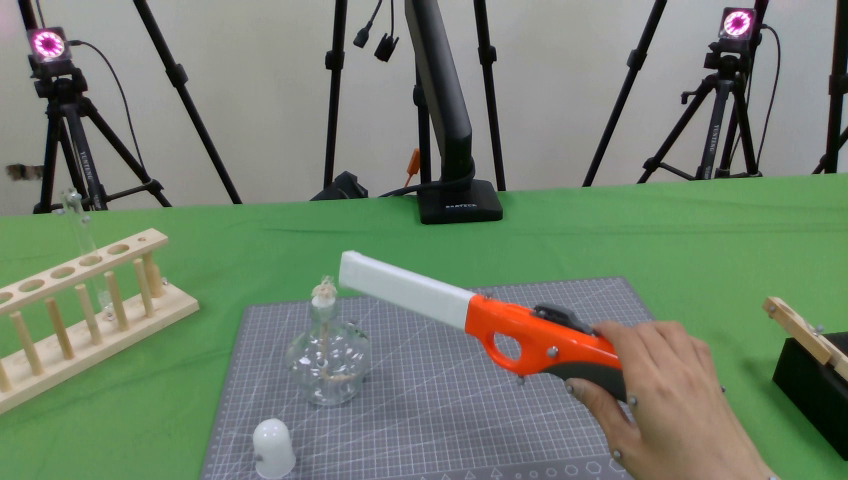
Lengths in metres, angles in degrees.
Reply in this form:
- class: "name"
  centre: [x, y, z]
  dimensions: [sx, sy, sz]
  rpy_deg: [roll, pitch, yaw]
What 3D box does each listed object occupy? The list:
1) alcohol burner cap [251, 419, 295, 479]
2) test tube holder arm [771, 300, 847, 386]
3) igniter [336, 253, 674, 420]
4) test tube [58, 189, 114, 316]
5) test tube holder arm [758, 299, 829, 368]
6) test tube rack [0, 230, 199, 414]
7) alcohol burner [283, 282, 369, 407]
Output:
- class: "alcohol burner cap"
  centre: [-0.124, 0.166, 0.488]
  dimensions: [0.034, 0.048, 0.033]
  rpy_deg: [0, 29, 1]
- class: "test tube holder arm"
  centre: [0.351, 0.107, 0.516]
  dimensions: [0.013, 0.015, 0.176]
  rpy_deg: [3, 29, -13]
- class: "igniter"
  centre: [0.043, 0.060, 0.440]
  dimensions: [0.274, 0.057, 0.025]
  rpy_deg: [17, 17, 32]
- class: "test tube"
  centre: [-0.342, 0.017, 0.618]
  dimensions: [0.017, 0.151, 0.017]
  rpy_deg: [0, 32, 0]
- class: "test tube holder arm"
  centre: [0.338, 0.084, 0.553]
  dimensions: [0.010, 0.015, 0.087]
  rpy_deg: [3, 29, -13]
- class: "test tube rack"
  centre: [-0.359, 0.081, 0.606]
  dimensions: [0.066, 0.086, 0.242]
  rpy_deg: [22, 36, 34]
- class: "alcohol burner"
  centre: [-0.090, 0.091, 0.548]
  dimensions: [0.078, 0.120, 0.077]
  rpy_deg: [0, 28, 0]
